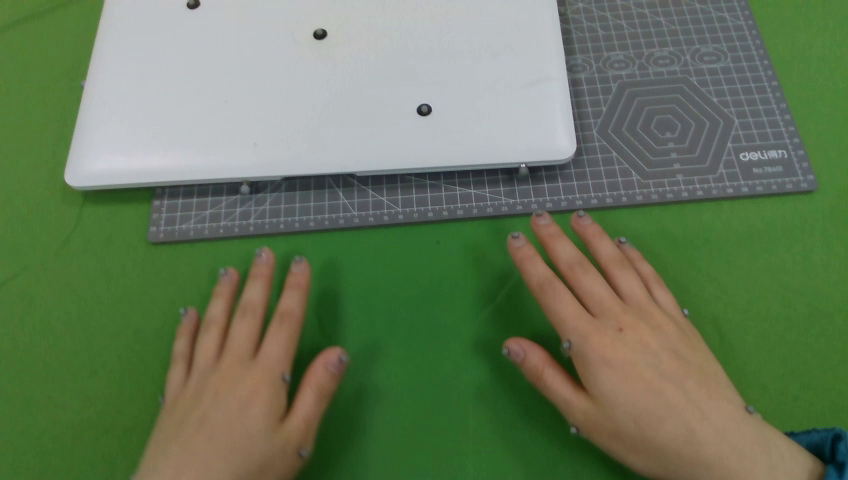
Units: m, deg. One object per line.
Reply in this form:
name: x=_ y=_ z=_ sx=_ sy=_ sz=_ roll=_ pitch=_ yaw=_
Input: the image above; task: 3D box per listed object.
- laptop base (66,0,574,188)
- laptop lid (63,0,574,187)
laptop base: x=-0.077 y=-0.149 z=0.463 sx=0.354 sy=0.023 sz=0.234 roll=-3 pitch=69 yaw=1
laptop lid: x=-0.077 y=-0.152 z=0.451 sx=0.357 sy=0.013 sz=0.240 roll=-1 pitch=68 yaw=2
